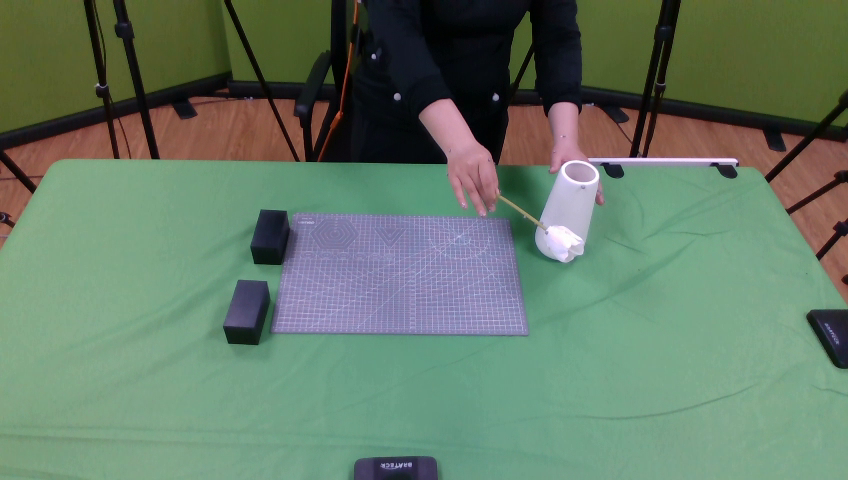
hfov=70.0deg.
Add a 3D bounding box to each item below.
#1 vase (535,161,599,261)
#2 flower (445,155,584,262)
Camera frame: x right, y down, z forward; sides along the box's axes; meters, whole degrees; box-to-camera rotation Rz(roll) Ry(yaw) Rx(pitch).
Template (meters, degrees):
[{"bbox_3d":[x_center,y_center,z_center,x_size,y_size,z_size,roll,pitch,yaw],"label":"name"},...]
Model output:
[{"bbox_3d":[0.271,-0.051,1.145,0.098,0.201,0.097,1,46,-1],"label":"vase"},{"bbox_3d":[0.127,-0.068,0.980,0.038,0.044,0.359,18,18,-39],"label":"flower"}]
